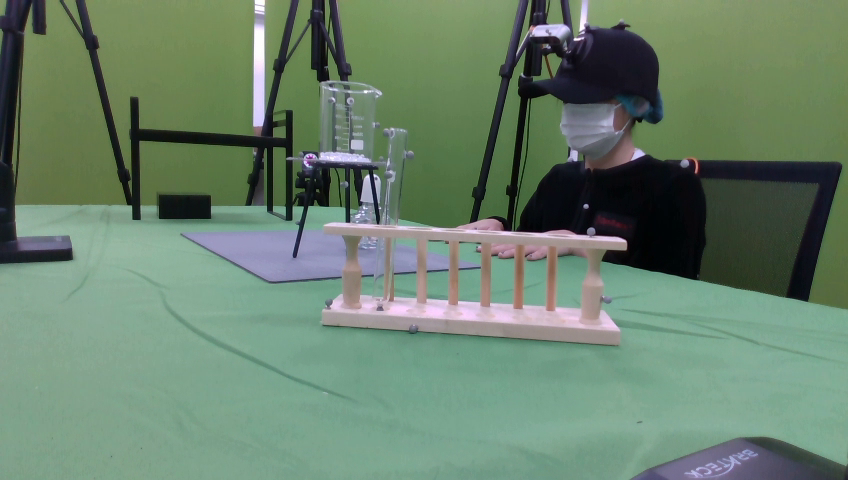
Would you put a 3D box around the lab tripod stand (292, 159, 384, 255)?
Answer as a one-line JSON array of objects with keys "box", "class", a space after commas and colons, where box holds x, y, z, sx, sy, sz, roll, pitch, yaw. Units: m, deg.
[{"box": [-0.105, -0.039, 0.797, 0.148, 0.131, 0.148, 2, 5, 0], "class": "lab tripod stand"}]

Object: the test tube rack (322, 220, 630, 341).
[{"box": [0.041, 0.029, 0.512, 0.242, 0.085, 0.067, 3, 7, 5], "class": "test tube rack"}]

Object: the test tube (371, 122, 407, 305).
[{"box": [-0.029, -0.020, 0.493, 0.017, 0.150, 0.017, 6, 9, -1], "class": "test tube"}]

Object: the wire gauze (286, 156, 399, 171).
[{"box": [-0.101, -0.103, 0.788, 0.121, 0.011, 0.125, 6, 4, 5], "class": "wire gauze"}]

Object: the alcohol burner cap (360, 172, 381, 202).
[{"box": [-0.081, -0.083, 0.949, 0.034, 0.048, 0.034, 7, 7, -1], "class": "alcohol burner cap"}]

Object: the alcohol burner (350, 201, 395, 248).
[{"box": [-0.084, -0.048, 0.953, 0.078, 0.119, 0.078, 1, 6, 0], "class": "alcohol burner"}]

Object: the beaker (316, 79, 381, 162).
[{"box": [-0.098, -0.151, 0.778, 0.084, 0.100, 0.074, 4, 7, 6], "class": "beaker"}]
